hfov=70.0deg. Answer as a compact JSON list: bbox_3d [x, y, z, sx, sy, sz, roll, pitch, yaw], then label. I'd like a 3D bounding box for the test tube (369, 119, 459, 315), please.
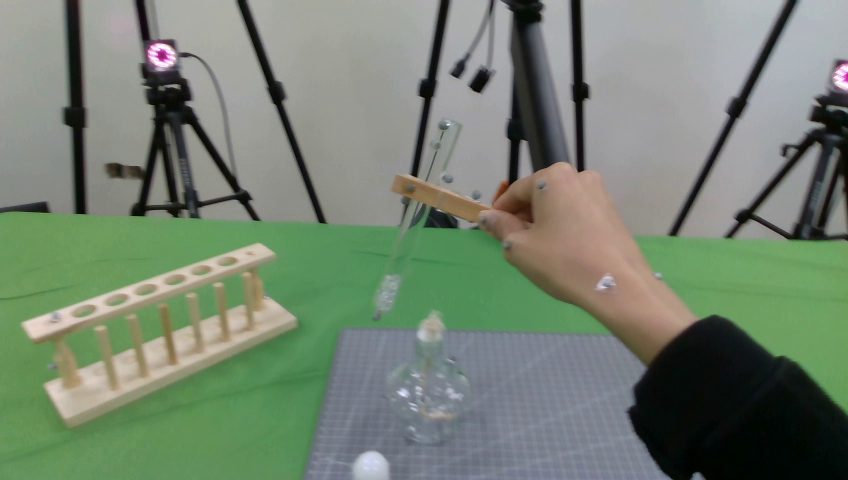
[{"bbox_3d":[-0.009,-0.013,0.430,0.017,0.150,0.017,20,14,-5],"label":"test tube"}]

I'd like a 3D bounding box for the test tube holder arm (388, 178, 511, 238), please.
[{"bbox_3d":[0.017,-0.022,0.415,0.087,0.015,0.010,21,16,11],"label":"test tube holder arm"}]

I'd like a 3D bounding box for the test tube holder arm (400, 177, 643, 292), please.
[{"bbox_3d":[0.058,-0.007,0.407,0.177,0.015,0.013,23,18,19],"label":"test tube holder arm"}]

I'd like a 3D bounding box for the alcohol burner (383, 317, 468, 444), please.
[{"bbox_3d":[0.002,0.121,0.540,0.078,0.120,0.077,2,25,-1],"label":"alcohol burner"}]

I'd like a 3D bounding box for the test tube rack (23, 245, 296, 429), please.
[{"bbox_3d":[-0.258,0.089,0.626,0.243,0.086,0.066,-22,35,-38],"label":"test tube rack"}]

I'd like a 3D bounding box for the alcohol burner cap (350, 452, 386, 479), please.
[{"bbox_3d":[-0.045,0.190,0.481,0.034,0.048,0.033,2,27,-1],"label":"alcohol burner cap"}]
